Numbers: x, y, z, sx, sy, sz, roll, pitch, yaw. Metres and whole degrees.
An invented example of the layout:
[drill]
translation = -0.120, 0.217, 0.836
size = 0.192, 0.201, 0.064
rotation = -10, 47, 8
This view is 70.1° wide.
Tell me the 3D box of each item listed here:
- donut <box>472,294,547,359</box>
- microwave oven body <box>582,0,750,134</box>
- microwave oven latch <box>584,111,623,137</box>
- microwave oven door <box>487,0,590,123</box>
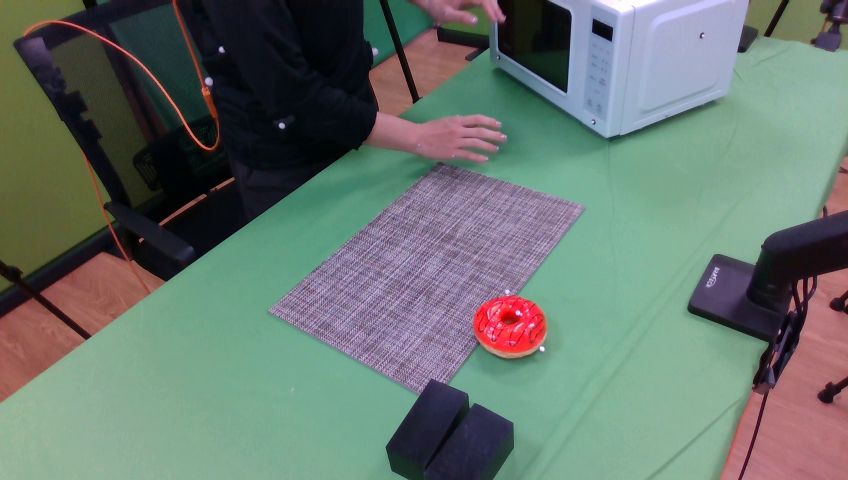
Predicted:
[donut]
translation = 0.114, 0.114, 0.803
size = 0.099, 0.048, 0.098
rotation = 0, 40, 1
[microwave oven body]
translation = 0.382, -0.444, 1.246
size = 0.327, 0.261, 0.437
rotation = -22, 42, -16
[microwave oven latch]
translation = 0.337, -0.222, 1.142
size = 0.030, 0.029, 0.078
rotation = -21, 42, -14
[microwave oven door]
translation = 0.232, -0.420, 1.231
size = 0.039, 0.245, 0.352
rotation = -22, 43, -16
